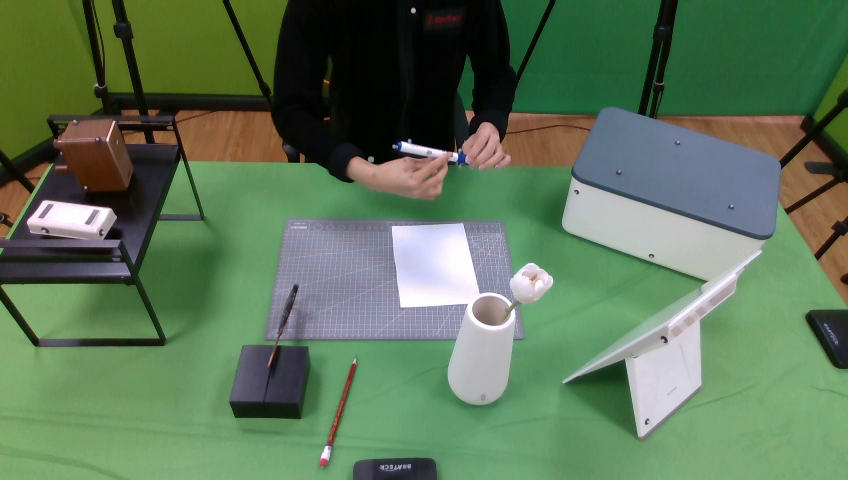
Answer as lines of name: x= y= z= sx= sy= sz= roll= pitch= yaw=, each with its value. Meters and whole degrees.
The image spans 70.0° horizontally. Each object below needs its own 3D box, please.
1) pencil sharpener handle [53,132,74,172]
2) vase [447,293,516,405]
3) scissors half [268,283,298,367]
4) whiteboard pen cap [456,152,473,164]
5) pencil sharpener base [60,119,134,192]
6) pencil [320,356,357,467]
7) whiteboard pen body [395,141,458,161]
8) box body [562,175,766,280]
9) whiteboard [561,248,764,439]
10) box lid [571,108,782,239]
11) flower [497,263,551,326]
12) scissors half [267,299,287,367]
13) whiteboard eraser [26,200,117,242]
pencil sharpener handle: x=-0.578 y=-0.138 z=0.961 sx=0.031 sy=0.068 sz=0.036 roll=-4 pitch=34 yaw=-7
vase: x=0.091 y=0.169 z=0.921 sx=0.098 sy=0.201 sz=0.097 roll=3 pitch=47 yaw=-3
scissors half: x=-0.230 y=0.135 z=0.986 sx=0.013 sy=0.040 sz=0.174 roll=19 pitch=43 yaw=-10
whiteboard pen cap: x=0.068 y=-0.143 z=1.056 sx=0.033 sy=0.018 sz=0.018 roll=6 pitch=43 yaw=-27
pencil sharpener base: x=-0.528 y=-0.135 z=0.979 sx=0.077 sy=0.107 sz=0.061 roll=-4 pitch=47 yaw=-7
pencil: x=-0.130 y=0.261 z=0.946 sx=0.012 sy=0.012 sz=0.193 roll=10 pitch=45 yaw=5
whiteboard pen body: x=0.016 y=-0.149 z=1.029 sx=0.141 sy=0.017 sz=0.017 roll=7 pitch=43 yaw=-27
box body: x=0.486 y=-0.088 z=1.222 sx=0.363 sy=0.161 sz=0.253 roll=20 pitch=48 yaw=15
whiteboard: x=0.386 y=0.176 z=0.905 sx=0.217 sy=0.306 sz=0.143 roll=-26 pitch=72 yaw=-27
box lid: x=0.491 y=-0.139 z=1.168 sx=0.370 sy=0.015 sz=0.262 roll=21 pitch=49 yaw=15
flower: x=0.103 y=0.121 z=0.853 sx=0.044 sy=0.363 sz=0.038 roll=-1 pitch=64 yaw=-9
scissors half: x=-0.239 y=0.150 z=0.997 sx=0.013 sy=0.040 sz=0.174 roll=24 pitch=24 yaw=-13
whiteboard eraser: x=-0.532 y=-0.026 z=0.919 sx=0.113 sy=0.042 sz=0.055 roll=7 pitch=45 yaw=3
